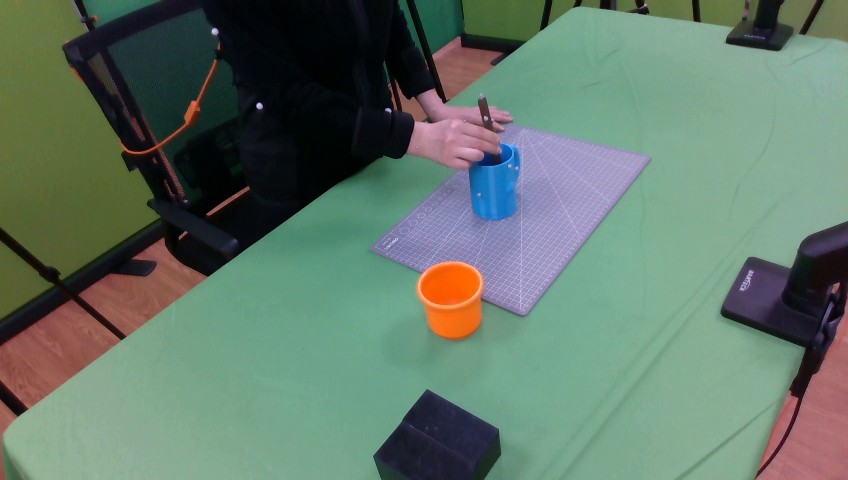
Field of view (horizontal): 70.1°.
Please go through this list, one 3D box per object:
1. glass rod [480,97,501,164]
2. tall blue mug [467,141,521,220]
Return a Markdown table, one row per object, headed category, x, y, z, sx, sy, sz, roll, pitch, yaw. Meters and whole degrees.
| category | x | y | z | sx | sy | sz | roll | pitch | yaw |
| --- | --- | --- | --- | --- | --- | --- | --- | --- | --- |
| glass rod | 0.114 | -0.148 | 0.968 | 0.008 | 0.201 | 0.008 | -11 | 48 | 13 |
| tall blue mug | 0.119 | -0.109 | 1.020 | 0.077 | 0.108 | 0.107 | 3 | 42 | 15 |
